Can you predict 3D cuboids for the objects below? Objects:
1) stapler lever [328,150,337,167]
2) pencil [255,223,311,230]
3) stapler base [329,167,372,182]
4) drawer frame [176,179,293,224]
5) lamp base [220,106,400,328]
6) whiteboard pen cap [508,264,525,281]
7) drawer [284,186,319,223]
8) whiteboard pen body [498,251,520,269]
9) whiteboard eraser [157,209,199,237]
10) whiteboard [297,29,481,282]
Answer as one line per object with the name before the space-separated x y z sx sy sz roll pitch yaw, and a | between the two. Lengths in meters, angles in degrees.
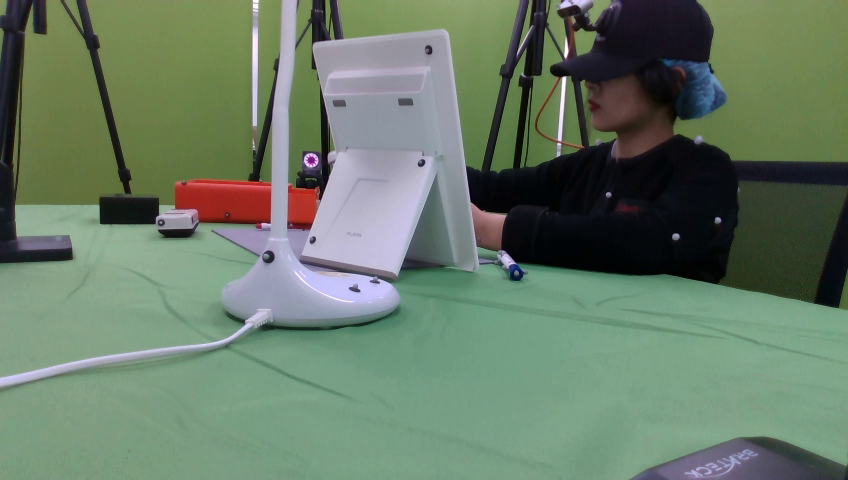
stapler lever | -0.164 -0.166 1.281 0.027 0.040 0.118 -16 -4 22
pencil | -0.216 -0.022 1.134 0.195 0.012 0.012 2 7 -22
stapler base | -0.157 -0.142 1.277 0.041 0.024 0.131 -16 -4 22
drawer frame | -0.395 -0.086 1.299 0.214 0.082 0.201 1 8 -9
lamp base | -0.101 -0.023 0.531 0.160 0.180 0.179 4 10 10
whiteboard pen cap | 0.115 0.039 0.752 0.018 0.018 0.033 2 9 0
drawer | -0.333 -0.082 1.310 0.212 0.073 0.194 1 8 -8
whiteboard pen body | 0.116 0.032 0.810 0.017 0.017 0.140 2 8 -1
whiteboard eraser | -0.411 -0.029 1.016 0.056 0.042 0.112 2 7 -16
whiteboard | -0.075 -0.082 0.741 0.216 0.305 0.144 9 29 37
